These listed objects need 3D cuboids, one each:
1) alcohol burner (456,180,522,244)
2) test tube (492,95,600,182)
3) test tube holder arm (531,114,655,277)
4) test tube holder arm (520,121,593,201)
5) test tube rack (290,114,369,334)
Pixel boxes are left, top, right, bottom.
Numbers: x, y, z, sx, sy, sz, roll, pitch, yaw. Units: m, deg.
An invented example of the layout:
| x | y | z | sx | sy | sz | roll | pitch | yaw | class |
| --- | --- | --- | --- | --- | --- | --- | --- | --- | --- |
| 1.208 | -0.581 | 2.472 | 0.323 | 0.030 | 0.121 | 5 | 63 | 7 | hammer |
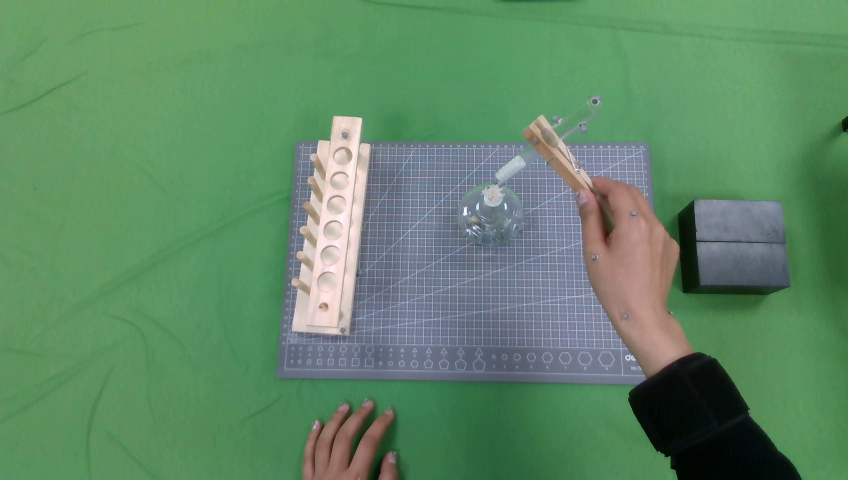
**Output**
| x | y | z | sx | sy | sz | roll | pitch | yaw | class |
| --- | --- | --- | --- | --- | --- | --- | --- | --- | --- |
| 0.075 | -0.036 | 0.691 | 0.078 | 0.119 | 0.077 | -1 | 76 | 3 | alcohol burner |
| 0.105 | -0.088 | 0.551 | 0.017 | 0.150 | 0.017 | 10 | 67 | -24 | test tube |
| 0.153 | -0.039 | 0.551 | 0.013 | 0.015 | 0.178 | -40 | 93 | -27 | test tube holder arm |
| 0.121 | -0.070 | 0.545 | 0.088 | 0.015 | 0.010 | 46 | 62 | -6 | test tube holder arm |
| -0.114 | -0.018 | 0.705 | 0.067 | 0.085 | 0.241 | 4 | 76 | 2 | test tube rack |
